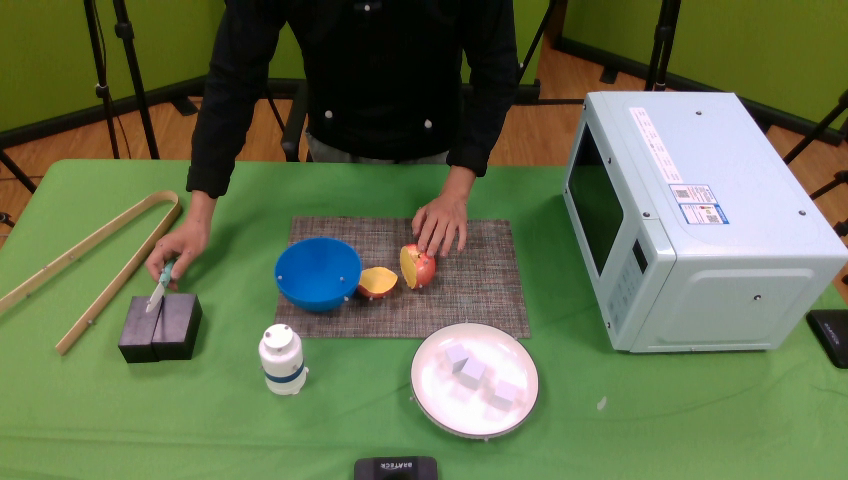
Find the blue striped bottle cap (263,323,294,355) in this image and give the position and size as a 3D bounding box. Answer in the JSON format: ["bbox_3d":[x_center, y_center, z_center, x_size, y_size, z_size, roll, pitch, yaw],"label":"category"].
[{"bbox_3d":[-0.216,0.146,0.900,0.044,0.021,0.044,1,46,-1],"label":"blue striped bottle cap"}]

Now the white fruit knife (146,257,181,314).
[{"bbox_3d":[-0.443,0.074,1.030,0.016,0.027,0.206,-8,22,-7],"label":"white fruit knife"}]

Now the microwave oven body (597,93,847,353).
[{"bbox_3d":[0.475,-0.041,1.109,0.326,0.261,0.438,-1,45,-4],"label":"microwave oven body"}]

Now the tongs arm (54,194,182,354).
[{"bbox_3d":[-0.543,0.048,1.107,0.028,0.028,0.385,11,46,10],"label":"tongs arm"}]

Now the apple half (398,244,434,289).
[{"bbox_3d":[-0.010,0.048,1.112,0.053,0.075,0.080,-11,52,-24],"label":"apple half"}]

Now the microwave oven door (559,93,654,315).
[{"bbox_3d":[0.327,-0.074,1.123,0.039,0.245,0.353,-1,46,-5],"label":"microwave oven door"}]

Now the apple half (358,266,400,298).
[{"bbox_3d":[-0.081,0.081,1.097,0.081,0.033,0.081,2,35,-1],"label":"apple half"}]

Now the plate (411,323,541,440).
[{"bbox_3d":[0.082,0.228,0.976,0.208,0.039,0.206,2,45,-2],"label":"plate"}]

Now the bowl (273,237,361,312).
[{"bbox_3d":[-0.186,0.075,1.069,0.151,0.077,0.150,3,45,-3],"label":"bowl"}]

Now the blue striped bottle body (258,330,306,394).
[{"bbox_3d":[-0.220,0.182,0.937,0.063,0.121,0.062,2,46,-2],"label":"blue striped bottle body"}]

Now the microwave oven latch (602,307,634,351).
[{"bbox_3d":[0.332,0.153,1.044,0.030,0.029,0.078,-1,45,-4],"label":"microwave oven latch"}]

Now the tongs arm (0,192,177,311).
[{"bbox_3d":[-0.618,0.019,1.124,0.050,0.026,0.384,24,47,17],"label":"tongs arm"}]
